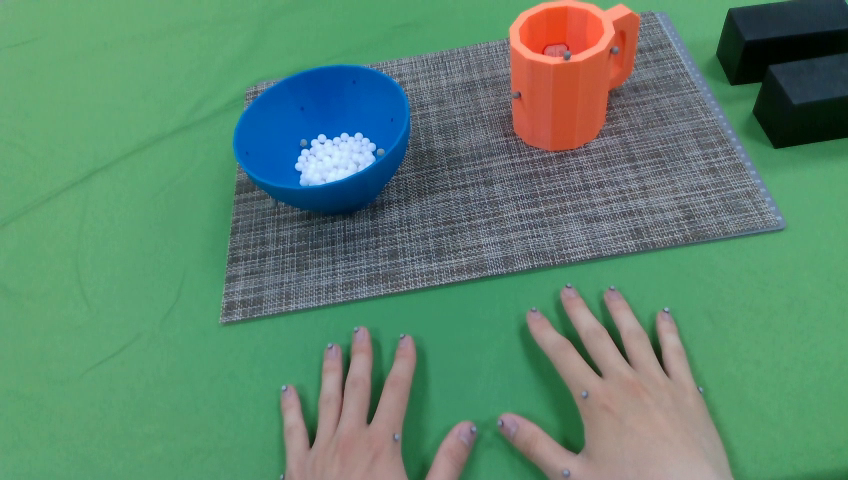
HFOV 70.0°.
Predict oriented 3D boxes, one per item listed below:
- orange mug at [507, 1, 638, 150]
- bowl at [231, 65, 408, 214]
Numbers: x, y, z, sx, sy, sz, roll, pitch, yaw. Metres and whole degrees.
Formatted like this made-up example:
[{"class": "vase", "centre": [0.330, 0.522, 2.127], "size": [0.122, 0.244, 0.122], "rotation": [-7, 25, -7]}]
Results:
[{"class": "orange mug", "centre": [0.133, -0.153, 0.540], "size": [0.126, 0.102, 0.082], "rotation": [-31, 54, -8]}, {"class": "bowl", "centre": [-0.082, -0.076, 0.533], "size": [0.151, 0.077, 0.150], "rotation": [-5, 53, 7]}]
